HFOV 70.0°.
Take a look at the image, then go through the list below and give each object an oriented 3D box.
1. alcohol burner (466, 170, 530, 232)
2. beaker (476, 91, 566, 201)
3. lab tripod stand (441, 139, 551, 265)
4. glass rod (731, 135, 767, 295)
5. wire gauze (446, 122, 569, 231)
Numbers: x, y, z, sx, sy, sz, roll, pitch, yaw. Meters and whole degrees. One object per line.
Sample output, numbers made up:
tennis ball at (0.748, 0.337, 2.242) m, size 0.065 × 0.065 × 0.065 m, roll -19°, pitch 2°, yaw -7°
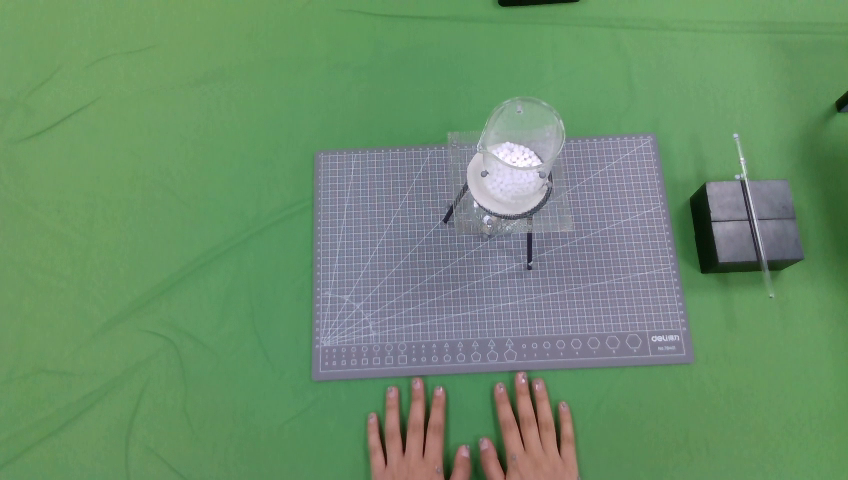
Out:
alcohol burner at (0.089, -0.052, 0.715) m, size 0.078 × 0.119 × 0.077 m, roll 0°, pitch 74°, yaw 1°
beaker at (0.089, -0.086, 0.595) m, size 0.084 × 0.101 × 0.073 m, roll -18°, pitch 73°, yaw -4°
lab tripod stand at (0.092, -0.052, 0.704) m, size 0.148 × 0.132 × 0.147 m, roll -1°, pitch 71°, yaw 2°
glass rod at (0.382, -0.032, 0.712) m, size 0.008 × 0.008 × 0.198 m, roll -2°, pitch 74°, yaw 1°
wire gauze at (0.088, -0.067, 0.640) m, size 0.125 × 0.011 × 0.120 m, roll -1°, pitch 74°, yaw -2°
